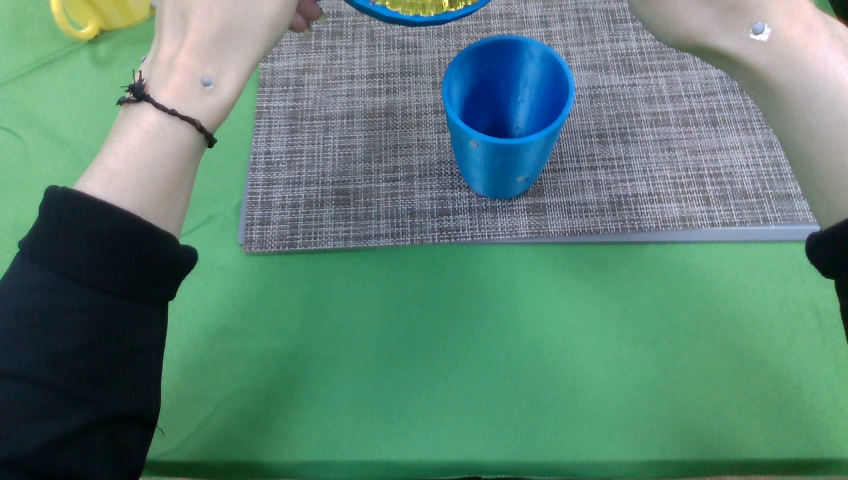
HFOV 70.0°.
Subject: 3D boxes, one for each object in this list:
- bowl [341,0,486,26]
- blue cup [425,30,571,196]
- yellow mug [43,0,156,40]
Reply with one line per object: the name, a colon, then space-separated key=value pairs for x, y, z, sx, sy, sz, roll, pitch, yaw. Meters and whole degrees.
bowl: x=-0.013 y=-0.202 z=0.379 sx=0.152 sy=0.076 sz=0.151 roll=0 pitch=93 yaw=-10
blue cup: x=0.053 y=-0.080 z=0.429 sx=0.092 sy=0.101 sz=0.092 roll=-1 pitch=67 yaw=3
yellow mug: x=-0.296 y=-0.236 z=0.533 sx=0.100 sy=0.064 sz=0.130 roll=9 pitch=67 yaw=6
